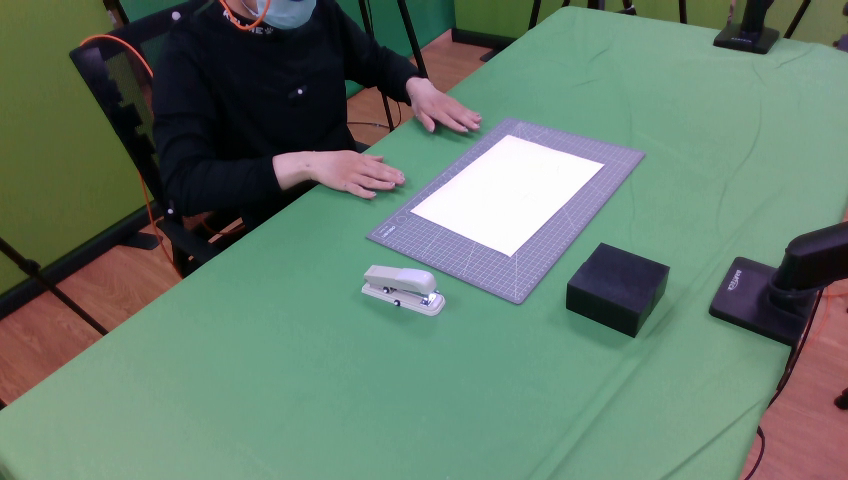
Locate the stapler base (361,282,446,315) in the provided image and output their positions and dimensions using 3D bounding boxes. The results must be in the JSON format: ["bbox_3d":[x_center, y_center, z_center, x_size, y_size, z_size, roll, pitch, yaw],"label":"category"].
[{"bbox_3d":[-0.031,0.073,0.889,0.130,0.024,0.041,14,42,26],"label":"stapler base"}]

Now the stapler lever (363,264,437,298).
[{"bbox_3d":[-0.036,0.054,0.873,0.117,0.040,0.027,14,42,26],"label":"stapler lever"}]
